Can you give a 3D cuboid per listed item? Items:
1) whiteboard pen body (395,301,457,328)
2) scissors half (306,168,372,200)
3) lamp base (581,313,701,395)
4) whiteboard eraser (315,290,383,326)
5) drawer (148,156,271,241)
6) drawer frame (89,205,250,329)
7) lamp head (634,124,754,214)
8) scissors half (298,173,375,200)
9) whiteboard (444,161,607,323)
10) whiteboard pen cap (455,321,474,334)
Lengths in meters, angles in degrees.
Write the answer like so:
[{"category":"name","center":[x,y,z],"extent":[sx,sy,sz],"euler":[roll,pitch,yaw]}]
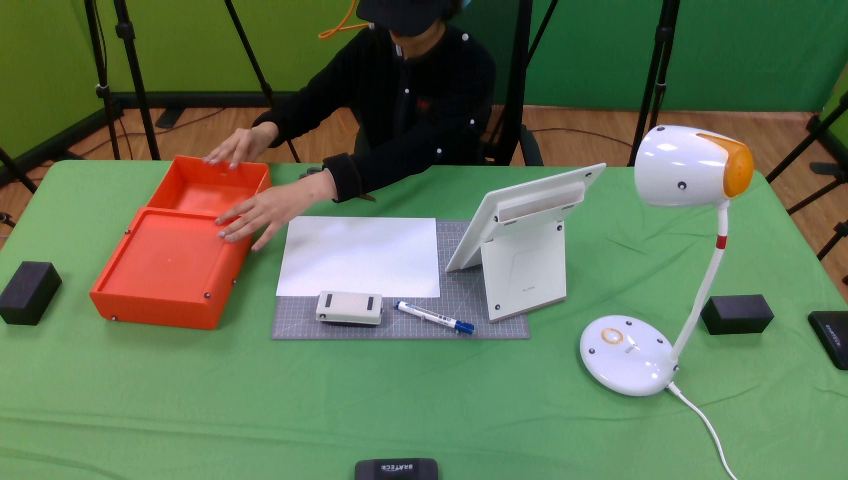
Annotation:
[{"category":"whiteboard pen body","center":[0.015,0.134,1.064],"extent":[0.140,0.017,0.017],"euler":[17,47,16]},{"category":"scissors half","center":[-0.180,-0.120,1.311],"extent":[0.174,0.013,0.040],"euler":[26,35,18]},{"category":"lamp base","center":[0.361,0.144,0.972],"extent":[0.178,0.181,0.160],"euler":[34,53,23]},{"category":"whiteboard eraser","center":[-0.130,0.120,1.054],"extent":[0.113,0.042,0.055],"euler":[4,47,0]},{"category":"drawer","center":[-0.427,-0.070,1.197],"extent":[0.194,0.073,0.210],"euler":[6,45,0]},{"category":"drawer frame","center":[-0.440,0.043,1.080],"extent":[0.202,0.083,0.212],"euler":[5,47,0]},{"category":"lamp head","center":[0.351,-0.089,0.775],"extent":[0.112,0.113,0.122],"euler":[-30,30,-28]},{"category":"scissors half","center":[-0.188,-0.110,1.296],"extent":[0.175,0.013,0.040],"euler":[15,38,5]},{"category":"whiteboard","center":[0.186,0.025,1.029],"extent":[0.217,0.306,0.143],"euler":[-14,68,-18]},{"category":"whiteboard pen cap","center":[0.069,0.151,1.046],"extent":[0.033,0.018,0.018],"euler":[14,47,16]}]
